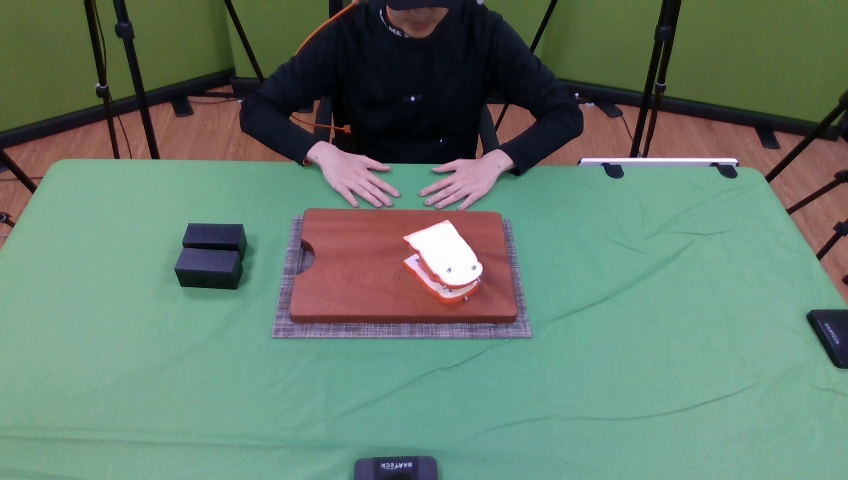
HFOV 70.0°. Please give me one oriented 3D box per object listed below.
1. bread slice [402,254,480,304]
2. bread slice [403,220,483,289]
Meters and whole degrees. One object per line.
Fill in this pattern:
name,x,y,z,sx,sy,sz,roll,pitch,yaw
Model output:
bread slice,0.040,0.058,1.106,0.105,0.019,0.131,-29,54,-25
bread slice,0.042,0.028,1.075,0.107,0.018,0.133,-25,64,-35
